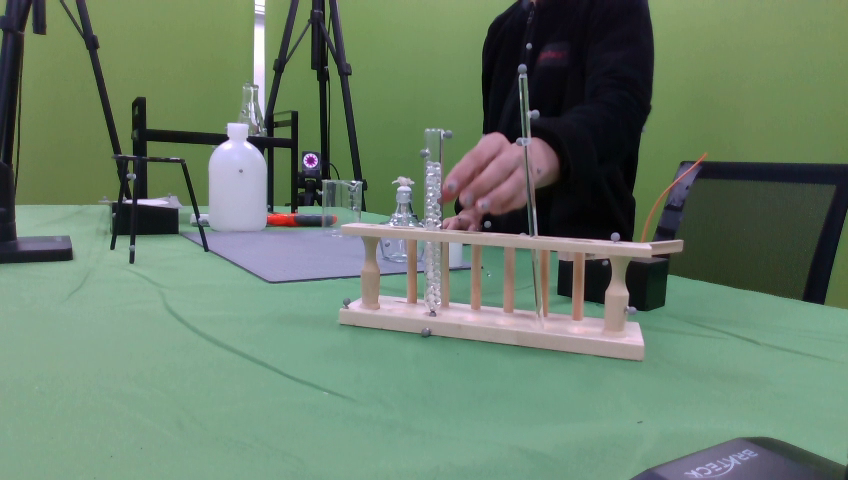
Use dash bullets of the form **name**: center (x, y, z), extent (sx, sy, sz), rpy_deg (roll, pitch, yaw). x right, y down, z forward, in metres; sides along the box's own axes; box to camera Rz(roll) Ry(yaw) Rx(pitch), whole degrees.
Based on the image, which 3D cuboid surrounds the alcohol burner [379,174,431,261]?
- **alcohol burner**: center (-0.027, -0.031, 0.838), extent (0.078, 0.119, 0.078), rpy_deg (0, 6, 0)

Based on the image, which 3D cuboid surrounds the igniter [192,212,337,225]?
- **igniter**: center (-0.312, -0.042, 1.203), extent (0.278, 0.025, 0.057), rpy_deg (-1, -5, -25)

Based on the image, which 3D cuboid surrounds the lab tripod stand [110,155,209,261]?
- **lab tripod stand**: center (-0.362, -0.046, 0.806), extent (0.148, 0.131, 0.148), rpy_deg (2, 5, 0)

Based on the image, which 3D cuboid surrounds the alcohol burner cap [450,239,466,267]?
- **alcohol burner cap**: center (0.041, 0.010, 0.815), extent (0.034, 0.048, 0.034), rpy_deg (2, 9, 0)

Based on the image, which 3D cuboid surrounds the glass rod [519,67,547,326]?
- **glass rod**: center (0.084, -0.029, 0.458), extent (0.008, 0.199, 0.008), rpy_deg (-6, 11, 2)

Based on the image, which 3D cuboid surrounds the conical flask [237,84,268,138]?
- **conical flask**: center (-0.402, -0.299, 1.405), extent (0.075, 0.122, 0.075), rpy_deg (2, 7, 0)

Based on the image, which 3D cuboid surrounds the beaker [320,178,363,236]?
- **beaker**: center (-0.145, -0.059, 1.078), extent (0.074, 0.100, 0.083), rpy_deg (-4, 10, -36)

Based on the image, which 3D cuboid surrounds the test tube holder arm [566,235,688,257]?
- **test tube holder arm**: center (0.215, 0.006, 0.629), extent (0.179, 0.015, 0.013), rpy_deg (-3, 10, -30)

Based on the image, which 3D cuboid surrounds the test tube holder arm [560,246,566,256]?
- **test tube holder arm**: center (0.173, 0.007, 0.611), extent (0.088, 0.015, 0.010), rpy_deg (-3, 10, -29)

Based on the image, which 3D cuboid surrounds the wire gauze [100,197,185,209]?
- **wire gauze**: center (-0.469, -0.062, 1.008), extent (0.126, 0.011, 0.121), rpy_deg (-2, 8, -25)

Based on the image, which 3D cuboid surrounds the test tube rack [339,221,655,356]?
- **test tube rack**: center (0.056, 0.032, 0.495), extent (0.242, 0.085, 0.067), rpy_deg (4, 7, 15)

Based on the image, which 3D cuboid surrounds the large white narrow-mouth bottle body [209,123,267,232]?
- **large white narrow-mouth bottle body**: center (-0.340, -0.115, 1.109), extent (0.102, 0.194, 0.102), rpy_deg (2, 8, 0)

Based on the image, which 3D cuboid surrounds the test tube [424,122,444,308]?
- **test tube**: center (0.008, -0.019, 0.487), extent (0.017, 0.150, 0.017), rpy_deg (0, 6, 0)

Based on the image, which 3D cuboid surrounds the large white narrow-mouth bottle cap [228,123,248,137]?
- **large white narrow-mouth bottle cap**: center (-0.338, -0.199, 1.097), extent (0.038, 0.024, 0.037), rpy_deg (2, 8, 0)
